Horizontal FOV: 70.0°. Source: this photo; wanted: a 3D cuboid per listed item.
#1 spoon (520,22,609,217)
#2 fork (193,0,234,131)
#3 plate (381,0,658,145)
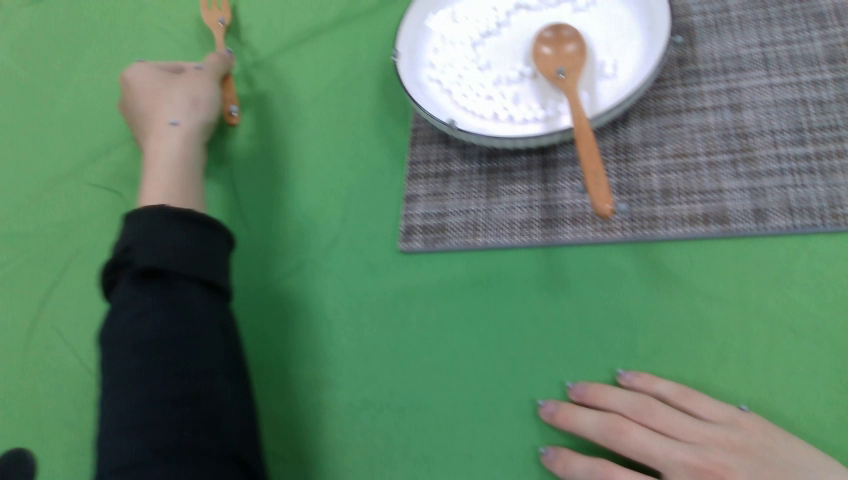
[{"bbox_3d":[0.097,-0.090,0.414,0.041,0.022,0.191,-8,48,6],"label":"spoon"},{"bbox_3d":[-0.187,-0.168,0.542,0.028,0.019,0.205,-12,52,-12],"label":"fork"},{"bbox_3d":[0.071,-0.156,0.472,0.207,0.039,0.206,-6,62,12],"label":"plate"}]
